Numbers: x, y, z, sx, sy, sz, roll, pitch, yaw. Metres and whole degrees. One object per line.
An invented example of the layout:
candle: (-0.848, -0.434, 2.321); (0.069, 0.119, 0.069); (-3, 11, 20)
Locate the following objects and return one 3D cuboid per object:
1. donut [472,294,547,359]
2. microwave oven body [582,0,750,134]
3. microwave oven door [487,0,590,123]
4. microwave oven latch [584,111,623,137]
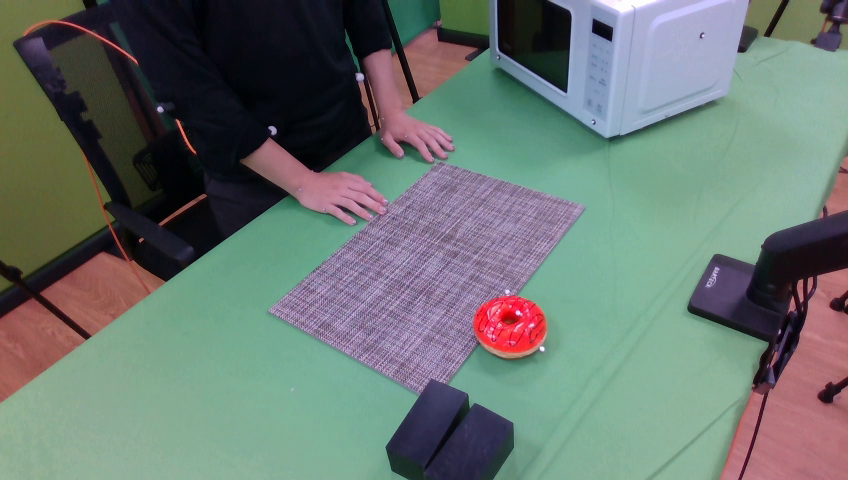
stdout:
donut: (0.114, 0.114, 0.803); (0.099, 0.048, 0.098); (0, 40, 1)
microwave oven body: (0.382, -0.444, 1.246); (0.327, 0.261, 0.437); (-22, 42, -16)
microwave oven door: (0.232, -0.420, 1.231); (0.039, 0.245, 0.352); (-22, 43, -16)
microwave oven latch: (0.337, -0.222, 1.142); (0.030, 0.029, 0.078); (-21, 42, -14)
